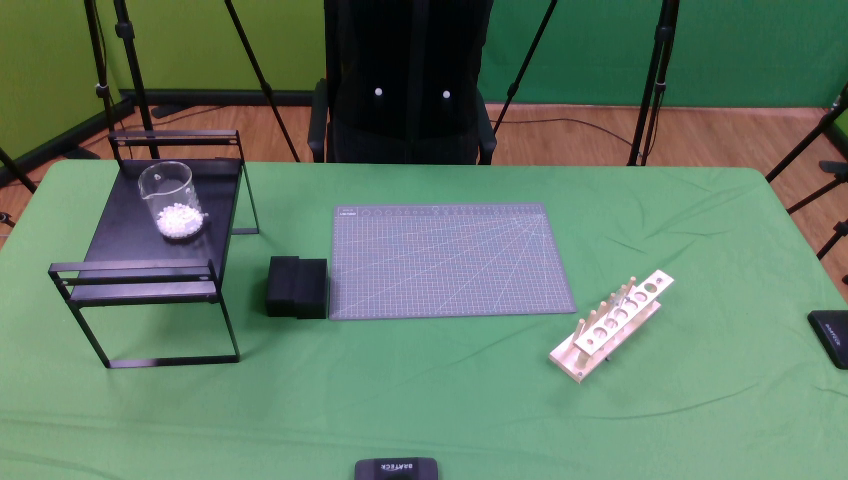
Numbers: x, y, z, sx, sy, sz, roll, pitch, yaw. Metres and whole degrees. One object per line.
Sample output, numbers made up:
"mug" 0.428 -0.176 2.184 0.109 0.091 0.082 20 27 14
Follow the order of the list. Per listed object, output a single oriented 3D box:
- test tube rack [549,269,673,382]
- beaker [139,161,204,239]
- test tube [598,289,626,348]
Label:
"test tube rack" 0.325 0.134 1.047 0.242 0.085 0.066 -32 56 -30
"beaker" -0.381 -0.056 0.920 0.074 0.101 0.084 22 49 18
"test tube" 0.302 0.130 0.982 0.017 0.151 0.017 0 47 0
